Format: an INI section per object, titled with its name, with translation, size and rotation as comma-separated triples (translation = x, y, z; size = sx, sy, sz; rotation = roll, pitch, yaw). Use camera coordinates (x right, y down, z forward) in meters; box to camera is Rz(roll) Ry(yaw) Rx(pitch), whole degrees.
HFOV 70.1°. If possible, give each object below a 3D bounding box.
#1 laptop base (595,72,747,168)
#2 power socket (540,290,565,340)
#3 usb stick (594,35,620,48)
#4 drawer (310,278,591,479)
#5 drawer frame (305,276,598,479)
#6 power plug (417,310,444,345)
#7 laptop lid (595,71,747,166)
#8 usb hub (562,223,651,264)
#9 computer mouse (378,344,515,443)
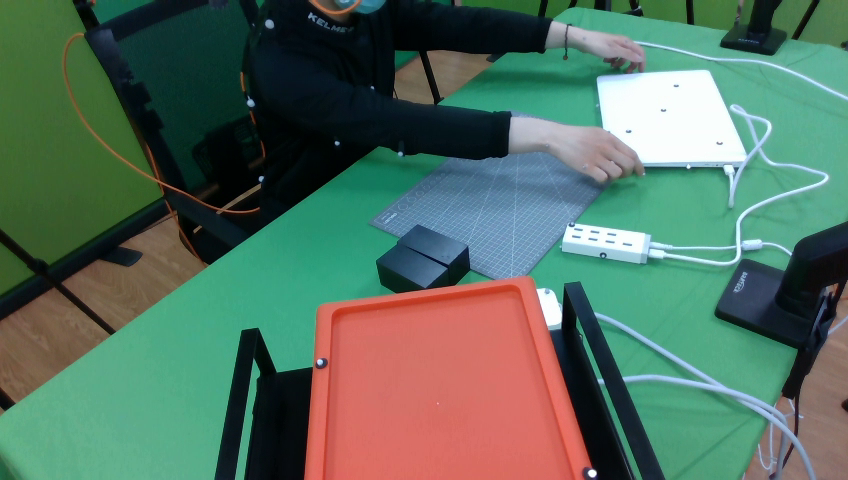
[laptop base]
translation = 0.469, -0.238, 1.189
size = 0.235, 0.023, 0.353
rotation = -1, 40, 11
[power socket]
translation = 0.081, 0.112, 0.822
size = 0.227, 0.033, 0.072
rotation = -6, 41, 0
[usb stick]
translation = 0.443, -0.483, 1.466
size = 0.059, 0.021, 0.027
rotation = 10, 43, 9
[drawer]
translation = 0.013, 0.137, 0.489
size = 0.195, 0.073, 0.210
rotation = -7, 41, 0
[drawer frame]
translation = 0.014, 0.137, 0.486
size = 0.202, 0.083, 0.212
rotation = -8, 41, -1
[power plug]
translation = 0.007, 0.122, 0.785
size = 0.035, 0.053, 0.072
rotation = 1, 39, 7
[laptop lid]
translation = 0.465, -0.248, 1.181
size = 0.241, 0.013, 0.355
rotation = 1, 41, 12
[usb hub]
translation = 0.279, 0.004, 0.926
size = 0.124, 0.025, 0.049
rotation = 10, 43, 19
[computer mouse]
translation = 0.018, 0.126, 0.521
size = 0.116, 0.041, 0.063
rotation = 13, 47, 29
